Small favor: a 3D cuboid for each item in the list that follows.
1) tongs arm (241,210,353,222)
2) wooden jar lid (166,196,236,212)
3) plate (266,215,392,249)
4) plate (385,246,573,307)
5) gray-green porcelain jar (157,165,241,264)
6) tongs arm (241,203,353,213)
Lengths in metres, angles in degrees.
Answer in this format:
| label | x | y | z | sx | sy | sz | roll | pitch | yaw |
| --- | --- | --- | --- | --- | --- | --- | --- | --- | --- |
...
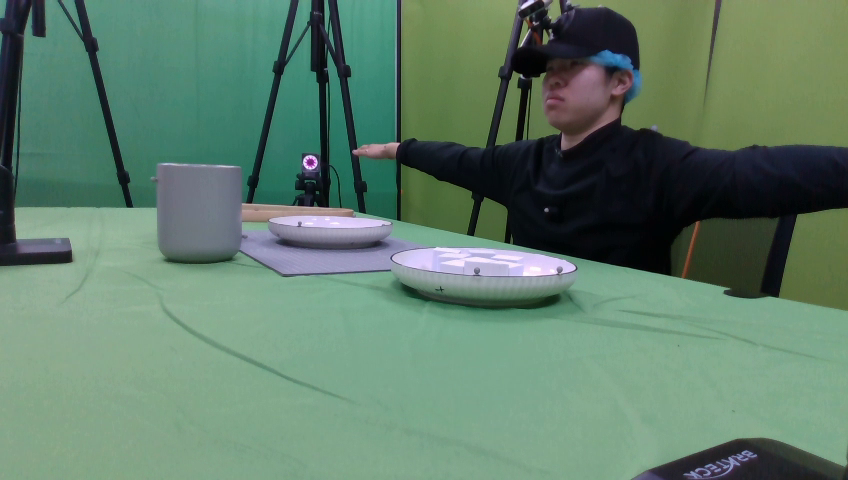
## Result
| label | x | y | z | sx | sy | sz | roll | pitch | yaw |
| --- | --- | --- | --- | --- | --- | --- | --- | --- | --- |
| tongs arm | -0.337 | -0.053 | 1.329 | 0.389 | 0.028 | 0.028 | -1 | 6 | -27 |
| wooden jar lid | -0.369 | -0.059 | 1.001 | 0.108 | 0.020 | 0.108 | 3 | 6 | 0 |
| plate | -0.159 | -0.015 | 1.019 | 0.209 | 0.038 | 0.209 | 3 | 7 | 0 |
| plate | 0.060 | 0.041 | 0.678 | 0.208 | 0.039 | 0.207 | 3 | 7 | 0 |
| gray-green porcelain jar | -0.300 | -0.036 | 0.811 | 0.106 | 0.126 | 0.106 | 2 | 8 | 0 |
| tongs arm | -0.361 | -0.068 | 1.406 | 0.386 | 0.026 | 0.050 | 2 | 8 | -14 |
